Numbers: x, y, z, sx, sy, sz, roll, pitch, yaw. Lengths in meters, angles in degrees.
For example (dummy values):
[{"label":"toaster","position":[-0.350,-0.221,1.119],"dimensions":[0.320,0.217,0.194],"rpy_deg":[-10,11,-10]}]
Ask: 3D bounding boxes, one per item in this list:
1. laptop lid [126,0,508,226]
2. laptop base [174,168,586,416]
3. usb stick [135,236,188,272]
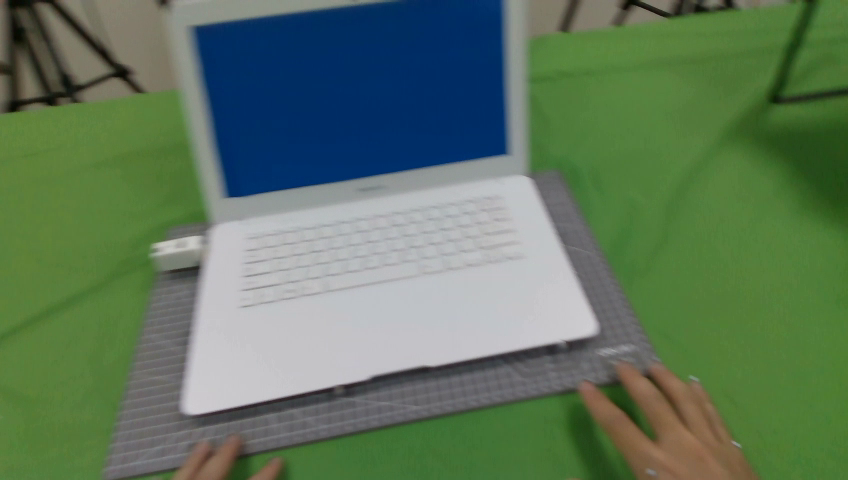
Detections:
[{"label":"laptop lid","position":[-0.092,-0.150,0.625],"dimensions":[0.357,0.243,0.013],"rpy_deg":[-12,23,-6]},{"label":"laptop base","position":[-0.052,0.035,0.587],"dimensions":[0.355,0.023,0.233],"rpy_deg":[-11,47,-6]},{"label":"usb stick","position":[-0.256,0.013,0.611],"dimensions":[0.059,0.027,0.021],"rpy_deg":[-8,42,-8]}]
